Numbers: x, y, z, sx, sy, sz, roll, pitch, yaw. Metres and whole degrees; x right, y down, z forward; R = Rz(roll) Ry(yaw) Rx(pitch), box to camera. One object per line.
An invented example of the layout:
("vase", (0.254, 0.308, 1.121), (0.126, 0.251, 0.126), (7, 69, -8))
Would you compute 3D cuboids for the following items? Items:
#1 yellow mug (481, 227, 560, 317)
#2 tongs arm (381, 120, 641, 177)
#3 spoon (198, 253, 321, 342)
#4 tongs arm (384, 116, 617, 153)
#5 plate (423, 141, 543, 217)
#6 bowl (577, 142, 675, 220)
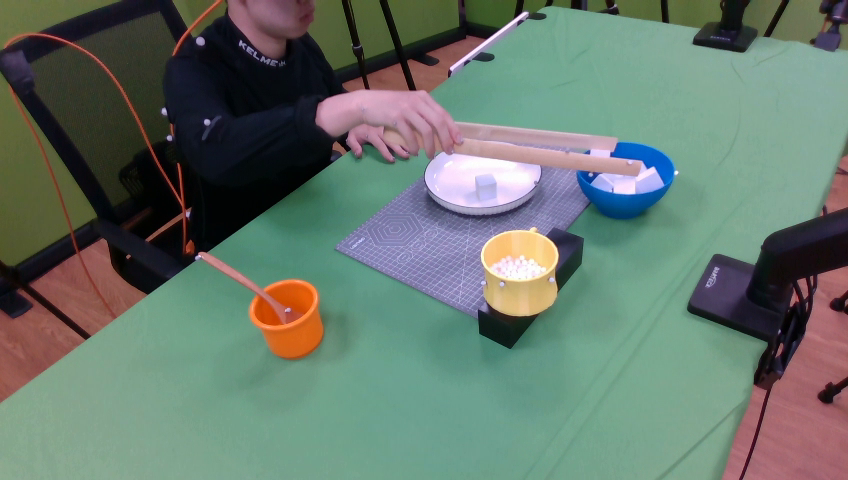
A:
("yellow mug", (0.131, 0.032, 0.801), (0.099, 0.064, 0.131), (12, 43, 20))
("tongs arm", (0.130, -0.135, 0.895), (0.386, 0.026, 0.050), (6, 30, -8))
("spoon", (-0.220, 0.075, 0.814), (0.021, 0.194, 0.041), (-37, 18, 39))
("tongs arm", (0.126, -0.162, 0.944), (0.389, 0.028, 0.028), (3, 34, -13))
("plate", (0.103, -0.104, 1.059), (0.207, 0.039, 0.206), (-4, 40, 4))
("bowl", (0.322, -0.086, 0.980), (0.151, 0.077, 0.150), (-4, 40, 4))
